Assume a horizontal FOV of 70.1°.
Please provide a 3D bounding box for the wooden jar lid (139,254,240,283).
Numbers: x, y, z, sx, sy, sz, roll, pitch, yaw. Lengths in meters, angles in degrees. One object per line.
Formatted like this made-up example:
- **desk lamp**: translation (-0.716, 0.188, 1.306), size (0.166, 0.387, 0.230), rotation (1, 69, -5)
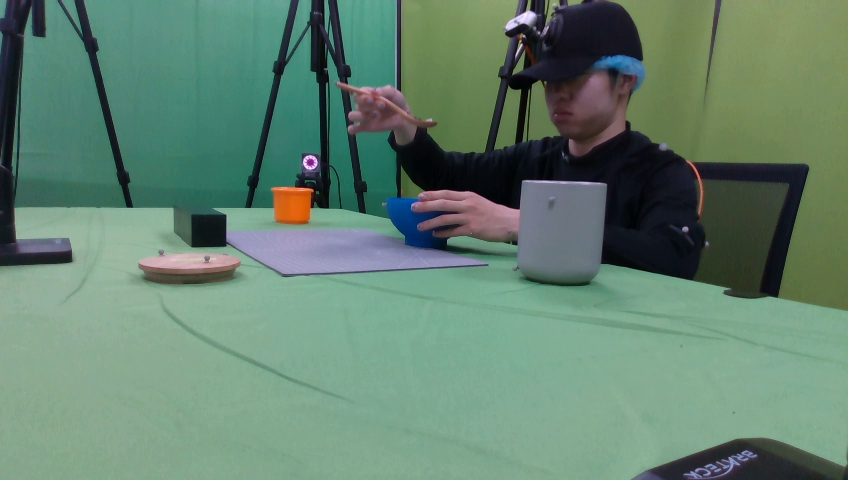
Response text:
- **wooden jar lid**: translation (-0.269, 0.032, 0.698), size (0.108, 0.020, 0.108), rotation (2, 5, 0)

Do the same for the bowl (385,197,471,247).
- **bowl**: translation (0.004, -0.031, 1.045), size (0.151, 0.077, 0.151), rotation (4, 6, 0)

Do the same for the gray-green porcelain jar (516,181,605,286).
- **gray-green porcelain jar**: translation (0.172, -0.010, 0.768), size (0.106, 0.126, 0.106), rotation (2, 7, 0)

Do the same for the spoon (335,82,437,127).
- **spoon**: translation (-0.067, -0.234, 1.037), size (0.193, 0.021, 0.042), rotation (28, 12, 9)
